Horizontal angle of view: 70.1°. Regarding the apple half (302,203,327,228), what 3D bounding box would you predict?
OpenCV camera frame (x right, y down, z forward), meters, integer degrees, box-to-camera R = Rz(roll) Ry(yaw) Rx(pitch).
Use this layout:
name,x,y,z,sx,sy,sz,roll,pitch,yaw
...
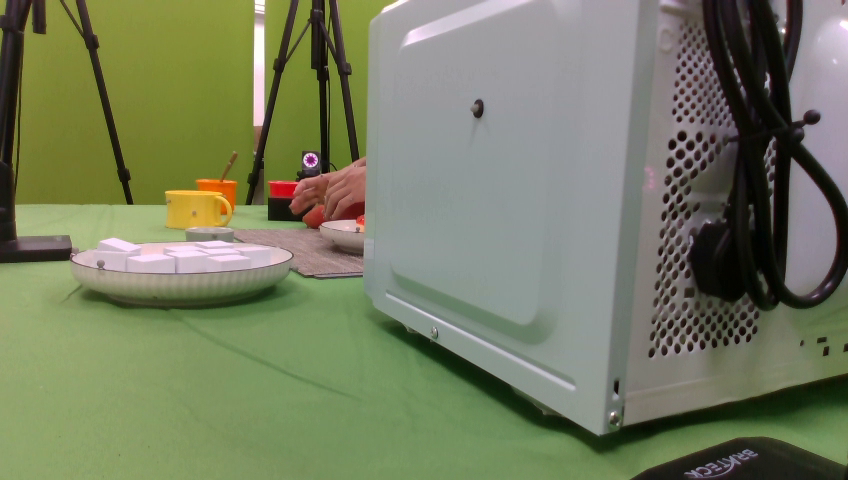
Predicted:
name,x,y,z,sx,sy,sz,roll,pitch,yaw
apple half,-0.193,-0.043,1.172,0.081,0.032,0.081,-19,-14,-5

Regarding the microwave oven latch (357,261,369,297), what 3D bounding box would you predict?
name,x,y,z,sx,sy,sz,roll,pitch,yaw
microwave oven latch,-0.019,0.033,0.530,0.079,0.029,0.030,-1,7,-27

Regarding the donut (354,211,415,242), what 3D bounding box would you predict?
name,x,y,z,sx,sy,sz,roll,pitch,yaw
donut,-0.062,-0.020,0.955,0.099,0.048,0.099,5,7,0

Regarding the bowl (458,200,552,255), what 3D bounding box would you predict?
name,x,y,z,sx,sy,sz,roll,pitch,yaw
bowl,0.128,-0.020,0.978,0.151,0.077,0.151,2,8,0

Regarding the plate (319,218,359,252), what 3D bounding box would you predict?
name,x,y,z,sx,sy,sz,roll,pitch,yaw
plate,-0.059,-0.007,0.939,0.209,0.038,0.209,3,8,0

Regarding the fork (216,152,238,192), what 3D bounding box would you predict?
name,x,y,z,sx,sy,sz,roll,pitch,yaw
fork,-0.455,-0.132,1.367,0.028,0.018,0.207,-3,-35,-38

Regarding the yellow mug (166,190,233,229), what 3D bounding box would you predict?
name,x,y,z,sx,sy,sz,roll,pitch,yaw
yellow mug,-0.415,-0.057,1.132,0.130,0.064,0.100,6,8,16

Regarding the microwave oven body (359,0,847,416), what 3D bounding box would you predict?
name,x,y,z,sx,sy,sz,roll,pitch,yaw
microwave oven body,0.211,-0.047,0.474,0.444,0.260,0.324,-1,7,-28

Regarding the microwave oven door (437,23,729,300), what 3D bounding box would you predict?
name,x,y,z,sx,sy,sz,roll,pitch,yaw
microwave oven door,0.181,-0.072,0.621,0.358,0.243,0.039,-2,9,-29

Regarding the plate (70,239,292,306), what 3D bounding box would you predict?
name,x,y,z,sx,sy,sz,roll,pitch,yaw
plate,-0.242,0.032,0.618,0.208,0.039,0.207,3,8,0

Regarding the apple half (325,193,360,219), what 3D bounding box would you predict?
name,x,y,z,sx,sy,sz,roll,pitch,yaw
apple half,-0.135,-0.047,1.092,0.081,0.074,0.053,2,11,-24

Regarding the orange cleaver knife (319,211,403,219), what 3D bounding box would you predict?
name,x,y,z,sx,sy,sz,roll,pitch,yaw
orange cleaver knife,-0.142,-0.056,1.394,0.077,0.012,0.212,3,7,44

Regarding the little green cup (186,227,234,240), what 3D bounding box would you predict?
name,x,y,z,sx,sy,sz,roll,pitch,yaw
little green cup,-0.284,0.005,0.805,0.061,0.038,0.061,2,8,0

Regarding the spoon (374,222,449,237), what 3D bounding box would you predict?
name,x,y,z,sx,sy,sz,roll,pitch,yaw
spoon,-0.028,-0.025,1.178,0.193,0.021,0.042,10,25,41
